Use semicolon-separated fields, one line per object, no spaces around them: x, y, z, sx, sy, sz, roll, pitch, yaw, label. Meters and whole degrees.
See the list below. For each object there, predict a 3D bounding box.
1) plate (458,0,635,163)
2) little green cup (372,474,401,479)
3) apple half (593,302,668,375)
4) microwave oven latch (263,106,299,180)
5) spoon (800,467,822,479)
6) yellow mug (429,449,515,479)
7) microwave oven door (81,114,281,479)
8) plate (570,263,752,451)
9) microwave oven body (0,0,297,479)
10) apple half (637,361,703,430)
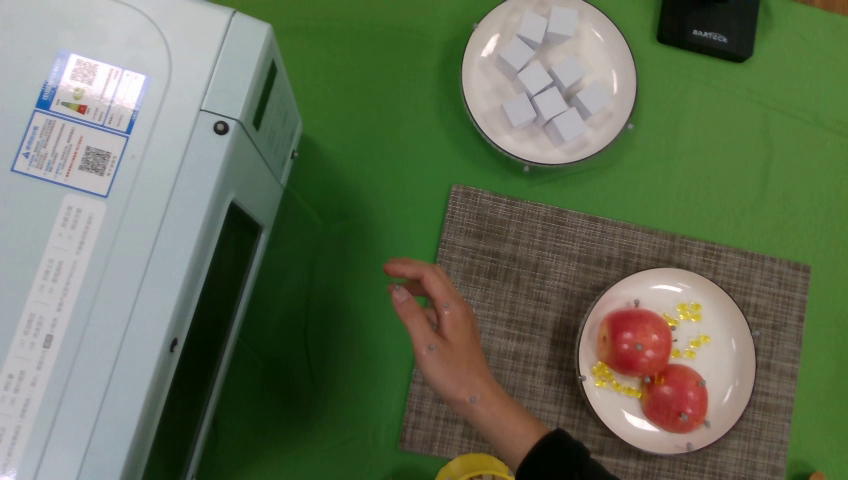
0.140;-0.189;0.709;0.208;0.039;0.207;1;84;-6;plate
-0.040;0.279;0.640;0.061;0.038;0.061;1;84;-4;little green cup
0.232;0.109;0.669;0.075;0.053;0.080;11;84;-3;apple half
-0.157;-0.107;0.649;0.030;0.029;0.079;18;83;-4;microwave oven latch
0.490;0.346;0.700;0.041;0.021;0.193;-34;88;-26;spoon
0.049;0.293;0.634;0.100;0.064;0.130;24;85;-4;yellow mug
-0.206;0.092;0.521;0.039;0.244;0.355;15;83;-4;microwave oven door
0.263;0.130;0.686;0.209;0.038;0.208;1;85;-6;plate
-0.336;0.012;0.520;0.326;0.260;0.440;16;83;-5;microwave oven body
0.279;0.174;0.677;0.081;0.033;0.081;1;81;-6;apple half
